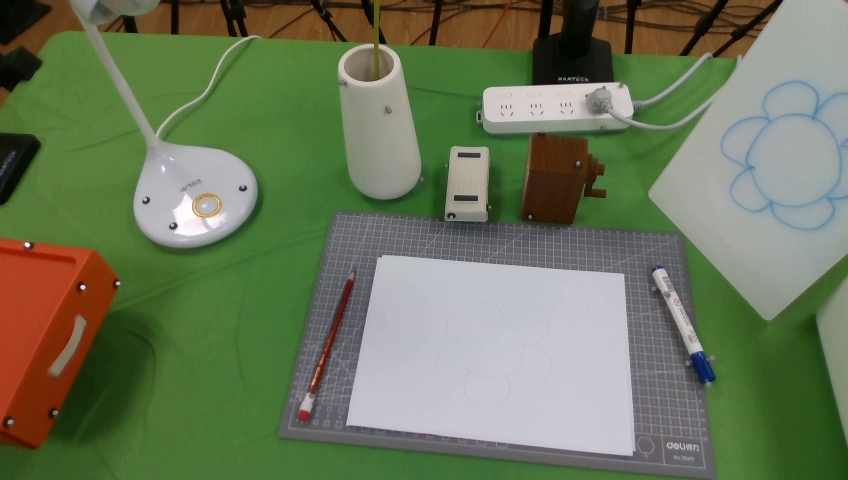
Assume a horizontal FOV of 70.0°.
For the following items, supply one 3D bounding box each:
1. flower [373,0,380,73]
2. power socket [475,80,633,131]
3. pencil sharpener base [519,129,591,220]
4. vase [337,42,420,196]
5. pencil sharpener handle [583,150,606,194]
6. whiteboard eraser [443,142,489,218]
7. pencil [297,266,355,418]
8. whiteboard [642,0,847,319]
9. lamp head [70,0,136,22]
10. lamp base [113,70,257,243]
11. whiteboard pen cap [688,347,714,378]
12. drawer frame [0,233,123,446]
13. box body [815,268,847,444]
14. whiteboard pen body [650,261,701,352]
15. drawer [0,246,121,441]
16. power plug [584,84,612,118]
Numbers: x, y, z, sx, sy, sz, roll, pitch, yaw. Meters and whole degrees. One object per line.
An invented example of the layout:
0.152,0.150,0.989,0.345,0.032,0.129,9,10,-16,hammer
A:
-0.053,-0.203,0.689,0.038,0.365,0.043,-5,39,-9,flower
0.187,-0.193,0.870,0.227,0.033,0.071,-1,58,1,power socket
0.162,-0.079,0.753,0.076,0.108,0.061,6,57,6,pencil sharpener base
-0.059,-0.143,0.748,0.098,0.202,0.097,-2,56,3,vase
0.212,-0.080,0.737,0.030,0.068,0.035,6,56,6,pencil sharpener handle
0.056,-0.077,0.795,0.055,0.042,0.111,4,57,3,whiteboard eraser
-0.109,0.110,0.697,0.012,0.012,0.192,10,57,9,pencil
0.435,-0.098,0.673,0.144,0.307,0.215,-13,55,-29,whiteboard
-0.281,-0.261,0.499,0.123,0.112,0.112,45,63,-16,lamp head
-0.317,-0.112,0.749,0.178,0.182,0.160,33,64,25,lamp base
0.299,0.132,0.656,0.018,0.018,0.033,-10,57,-4,whiteboard pen cap
-0.469,0.093,0.632,0.213,0.083,0.200,7,58,4,drawer frame
0.541,0.179,0.539,0.254,0.162,0.361,3,58,5,box body
0.290,0.085,0.690,0.017,0.017,0.139,-10,57,-4,whiteboard pen body
-0.462,0.091,0.631,0.211,0.074,0.193,7,59,6,drawer
0.237,-0.183,0.833,0.035,0.053,0.072,8,59,8,power plug
